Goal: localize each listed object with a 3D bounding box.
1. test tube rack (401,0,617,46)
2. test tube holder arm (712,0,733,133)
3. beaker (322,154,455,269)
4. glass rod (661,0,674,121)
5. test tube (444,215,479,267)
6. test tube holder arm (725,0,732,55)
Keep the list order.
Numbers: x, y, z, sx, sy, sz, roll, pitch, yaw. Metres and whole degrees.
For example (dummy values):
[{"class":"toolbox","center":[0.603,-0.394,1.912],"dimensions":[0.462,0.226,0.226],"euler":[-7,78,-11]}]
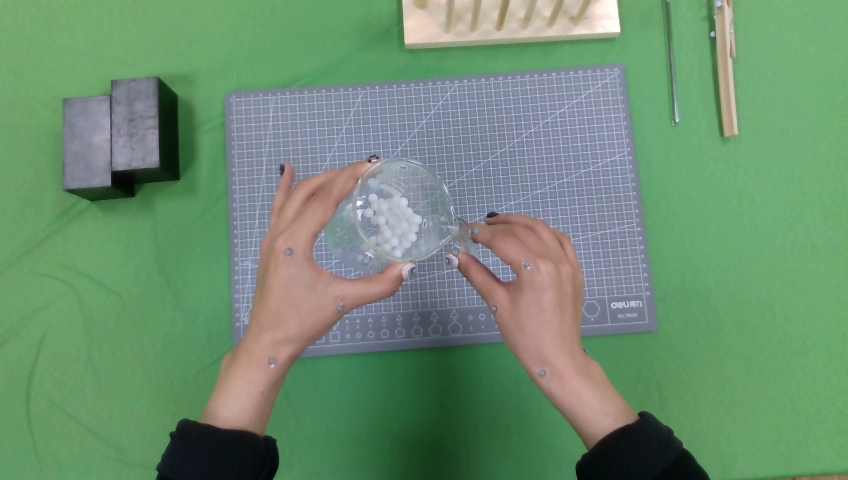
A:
[{"class":"test tube rack","center":[0.095,-0.266,0.656],"dimensions":[0.242,0.085,0.066],"euler":[-3,81,0]},{"class":"test tube holder arm","center":[0.334,-0.207,0.677],"dimensions":[0.013,0.015,0.178],"euler":[6,81,-28]},{"class":"beaker","center":[-0.032,-0.015,0.459],"dimensions":[0.084,0.100,0.073],"euler":[17,77,-20]},{"class":"glass rod","center":[0.275,-0.231,0.689],"dimensions":[0.008,0.008,0.199],"euler":[0,82,0]},{"class":"test tube","center":[0.034,0.004,0.508],"dimensions":[0.017,0.151,0.017],"euler":[-2,78,9]},{"class":"test tube holder arm","center":[0.340,-0.251,0.687],"dimensions":[0.010,0.015,0.087],"euler":[7,81,-28]}]
